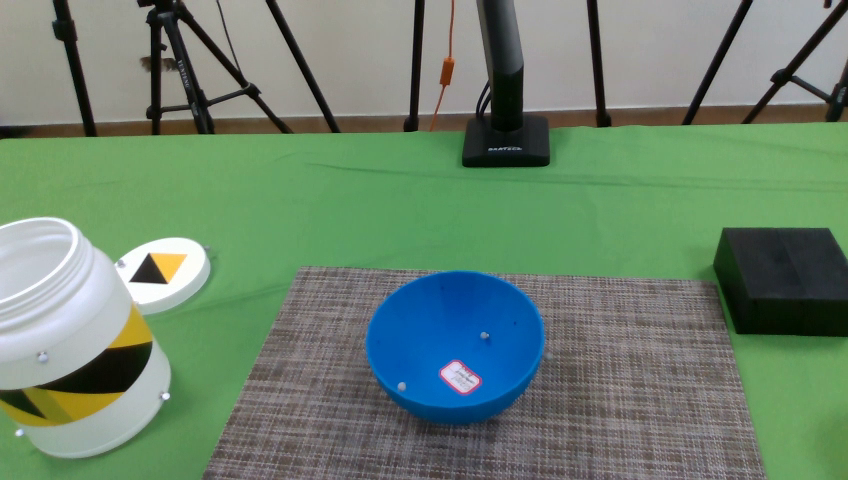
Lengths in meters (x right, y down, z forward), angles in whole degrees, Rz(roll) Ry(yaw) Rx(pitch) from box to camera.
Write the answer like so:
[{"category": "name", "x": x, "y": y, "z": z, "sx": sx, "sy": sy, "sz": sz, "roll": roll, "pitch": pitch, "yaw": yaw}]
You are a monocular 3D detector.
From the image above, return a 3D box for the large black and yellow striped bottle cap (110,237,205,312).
[{"category": "large black and yellow striped bottle cap", "x": -0.315, "y": 0.037, "z": 0.704, "sx": 0.115, "sy": 0.019, "sz": 0.114, "roll": -3, "pitch": 40, "yaw": 3}]

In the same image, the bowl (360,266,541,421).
[{"category": "bowl", "x": 0.025, "y": 0.102, "z": 0.528, "sx": 0.151, "sy": 0.077, "sz": 0.150, "roll": -4, "pitch": 41, "yaw": 3}]

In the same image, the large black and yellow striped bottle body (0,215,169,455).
[{"category": "large black and yellow striped bottle body", "x": -0.316, "y": 0.082, "z": 0.521, "sx": 0.131, "sy": 0.186, "sz": 0.129, "roll": -4, "pitch": 40, "yaw": 4}]
